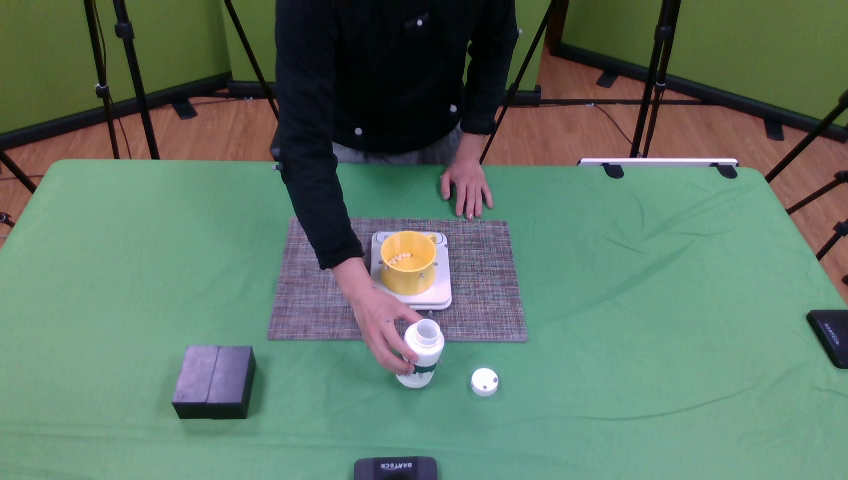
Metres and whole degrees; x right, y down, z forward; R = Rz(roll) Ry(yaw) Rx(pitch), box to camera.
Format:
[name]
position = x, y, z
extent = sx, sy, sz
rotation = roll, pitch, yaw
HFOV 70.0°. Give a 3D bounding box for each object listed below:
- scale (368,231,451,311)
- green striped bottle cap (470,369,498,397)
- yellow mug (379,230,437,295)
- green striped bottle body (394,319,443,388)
[scale]
position = -0.029, 0.049, 1.137
extent = 0.149, 0.032, 0.199
rotation = 1, 46, -4
[green striped bottle cap]
position = 0.098, 0.232, 0.988
extent = 0.044, 0.020, 0.044
rotation = 2, 41, -1
[yellow mug]
position = -0.020, 0.030, 1.089
extent = 0.099, 0.064, 0.130
rotation = 31, 51, 24
[green striped bottle body]
position = -0.007, 0.174, 0.944
extent = 0.063, 0.120, 0.063
rotation = 8, 44, -8
